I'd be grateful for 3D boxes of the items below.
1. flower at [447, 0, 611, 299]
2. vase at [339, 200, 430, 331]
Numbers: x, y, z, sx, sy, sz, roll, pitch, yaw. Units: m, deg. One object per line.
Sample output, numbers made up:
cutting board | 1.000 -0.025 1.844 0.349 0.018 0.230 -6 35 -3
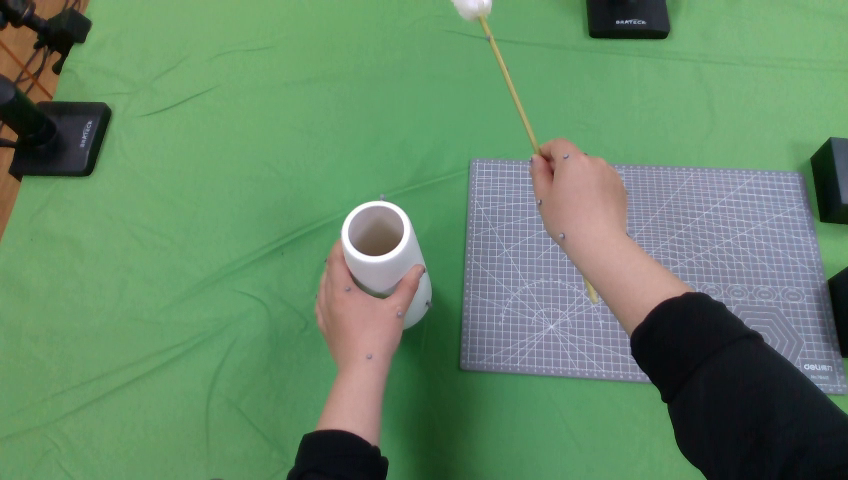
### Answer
flower | 0.097 -0.110 0.574 0.038 0.044 0.360 -27 83 27
vase | -0.043 0.033 0.675 0.098 0.201 0.097 0 65 1
